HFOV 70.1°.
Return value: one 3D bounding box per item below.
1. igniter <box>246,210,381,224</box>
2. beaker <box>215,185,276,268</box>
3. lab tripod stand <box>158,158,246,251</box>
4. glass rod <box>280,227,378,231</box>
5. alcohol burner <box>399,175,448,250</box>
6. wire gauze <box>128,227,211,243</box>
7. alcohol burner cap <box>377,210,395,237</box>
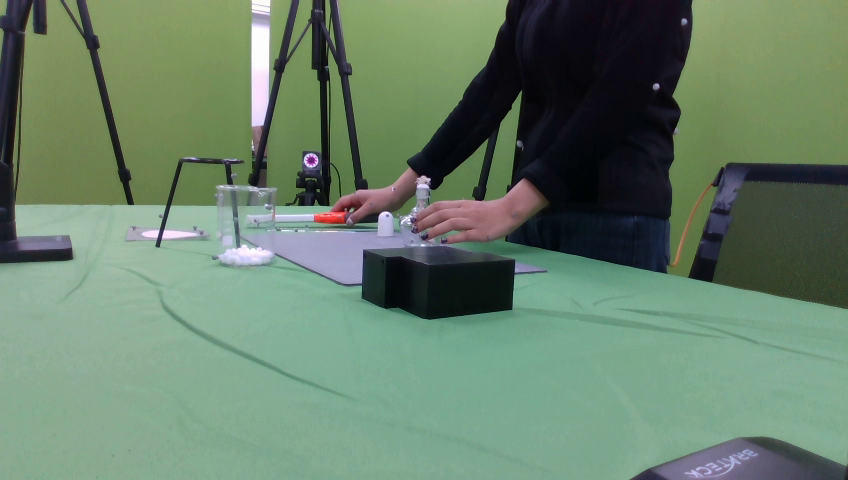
[{"bbox_3d":[-0.214,-0.046,1.216,0.278,0.025,0.057,-2,2,-25],"label":"igniter"},{"bbox_3d":[-0.226,-0.019,0.773,0.074,0.100,0.084,5,7,14],"label":"beaker"},{"bbox_3d":[-0.314,-0.055,0.891,0.148,0.131,0.148,2,9,0],"label":"lab tripod stand"},{"bbox_3d":[-0.175,-0.021,1.161,0.200,0.008,0.008,1,7,-15],"label":"glass rod"},{"bbox_3d":[-0.001,-0.044,0.962,0.078,0.119,0.078,0,8,0],"label":"alcohol burner"},{"bbox_3d":[-0.420,-0.010,0.999,0.122,0.011,0.124,-2,10,-24],"label":"wire gauze"},{"bbox_3d":[-0.069,-0.031,1.112,0.034,0.048,0.034,2,8,0],"label":"alcohol burner cap"}]
